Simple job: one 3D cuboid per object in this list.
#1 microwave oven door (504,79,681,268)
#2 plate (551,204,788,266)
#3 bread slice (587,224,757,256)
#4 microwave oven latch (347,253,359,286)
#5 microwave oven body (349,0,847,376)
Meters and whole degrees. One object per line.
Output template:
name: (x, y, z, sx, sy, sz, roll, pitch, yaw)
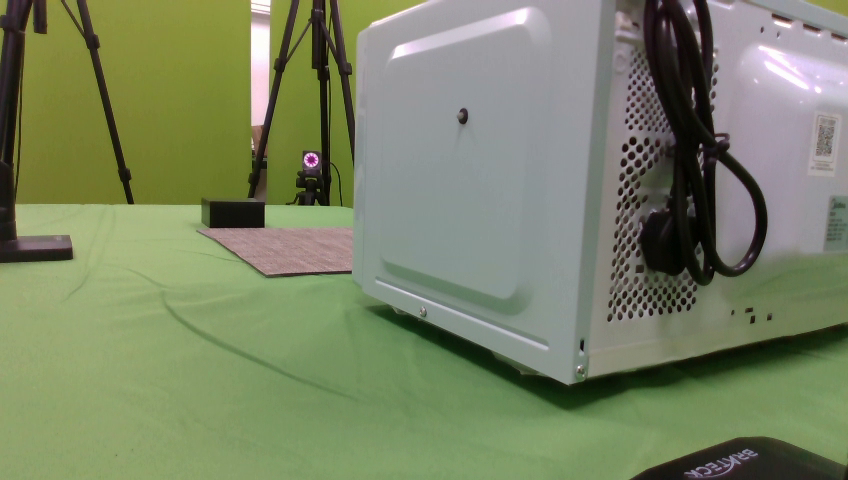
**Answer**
microwave oven door: (0.235, -0.105, 0.926, 0.039, 0.243, 0.354, -1, 8, -24)
plate: (0.223, -0.007, 0.572, 0.209, 0.038, 0.209, 5, 7, 0)
bread slice: (0.225, -0.001, 0.569, 0.132, 0.019, 0.104, 2, 6, -23)
microwave oven latch: (-0.034, 0.028, 0.581, 0.079, 0.029, 0.030, -1, 7, -31)
microwave oven body: (0.199, -0.053, 0.540, 0.444, 0.260, 0.324, -1, 7, -32)
